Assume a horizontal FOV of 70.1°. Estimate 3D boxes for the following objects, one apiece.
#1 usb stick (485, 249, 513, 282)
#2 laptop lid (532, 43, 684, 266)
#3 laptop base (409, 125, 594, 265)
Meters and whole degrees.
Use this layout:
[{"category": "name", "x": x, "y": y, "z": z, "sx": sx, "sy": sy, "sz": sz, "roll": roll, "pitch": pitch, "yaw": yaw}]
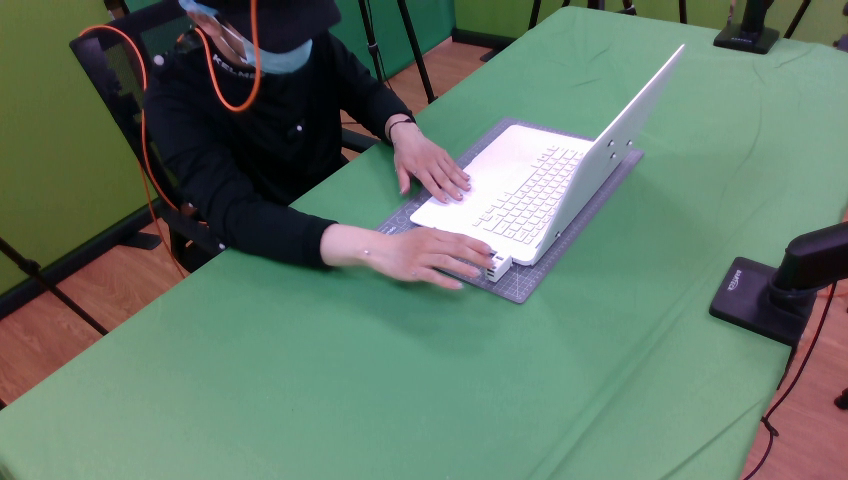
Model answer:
[{"category": "usb stick", "x": 0.115, "y": 0.034, "z": 0.895, "sx": 0.021, "sy": 0.027, "sz": 0.059, "roll": 24, "pitch": 45, "yaw": 30}, {"category": "laptop lid", "x": 0.280, "y": -0.130, "z": 0.907, "sx": 0.013, "sy": 0.242, "sz": 0.357, "roll": 34, "pitch": 52, "yaw": 17}, {"category": "laptop base", "x": 0.168, "y": -0.094, "z": 1.056, "sx": 0.233, "sy": 0.023, "sz": 0.355, "roll": 19, "pitch": 47, "yaw": 32}]
